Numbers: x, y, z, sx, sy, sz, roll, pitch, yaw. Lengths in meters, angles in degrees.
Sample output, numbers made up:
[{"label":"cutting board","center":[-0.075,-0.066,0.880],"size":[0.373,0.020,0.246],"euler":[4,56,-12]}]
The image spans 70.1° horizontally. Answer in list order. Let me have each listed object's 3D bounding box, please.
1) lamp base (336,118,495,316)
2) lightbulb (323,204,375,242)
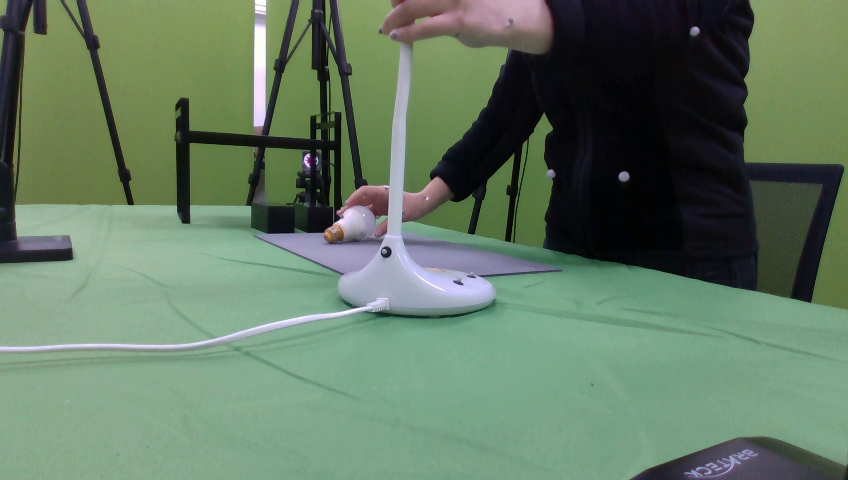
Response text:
[{"label":"lamp base","center":[-0.009,-0.026,0.589],"size":[0.160,0.180,0.179],"euler":[4,10,14]},{"label":"lightbulb","center":[-0.127,-0.023,1.007],"size":[0.059,0.059,0.108],"euler":[8,25,36]}]
